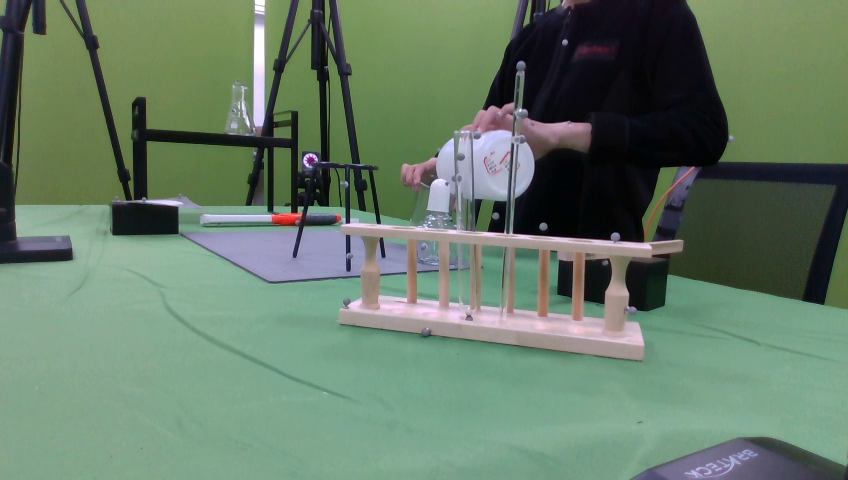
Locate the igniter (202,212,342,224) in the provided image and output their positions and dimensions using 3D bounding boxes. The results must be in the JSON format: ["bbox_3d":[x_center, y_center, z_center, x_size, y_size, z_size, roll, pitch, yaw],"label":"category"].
[{"bbox_3d":[-0.298,-0.044,1.216,0.278,0.025,0.057,-2,-2,-32],"label":"igniter"}]

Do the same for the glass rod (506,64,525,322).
[{"bbox_3d":[0.069,-0.030,0.458,0.008,0.199,0.008,0,15,0],"label":"glass rod"}]

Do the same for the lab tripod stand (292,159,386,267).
[{"bbox_3d":[-0.105,-0.039,0.798,0.148,0.131,0.148,2,5,0],"label":"lab tripod stand"}]

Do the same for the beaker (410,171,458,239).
[{"bbox_3d":[0.017,-0.058,1.040,0.074,0.100,0.084,8,25,-8],"label":"beaker"}]

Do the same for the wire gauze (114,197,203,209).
[{"bbox_3d":[-0.447,-0.062,1.015,0.126,0.011,0.121,-2,8,-31],"label":"wire gauze"}]

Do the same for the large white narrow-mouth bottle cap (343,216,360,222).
[{"bbox_3d":[-0.148,-0.036,1.234,0.038,0.024,0.037,2,8,0],"label":"large white narrow-mouth bottle cap"}]

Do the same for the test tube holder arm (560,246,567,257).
[{"bbox_3d":[0.173,0.007,0.611,0.088,0.015,0.010,-3,9,-30],"label":"test tube holder arm"}]

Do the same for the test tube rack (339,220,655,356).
[{"bbox_3d":[0.056,0.032,0.495,0.242,0.085,0.067,4,7,15],"label":"test tube rack"}]

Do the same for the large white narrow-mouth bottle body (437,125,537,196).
[{"bbox_3d":[0.077,-0.118,0.917,0.102,0.101,0.194,-2,6,-26],"label":"large white narrow-mouth bottle body"}]

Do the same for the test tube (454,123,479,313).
[{"bbox_3d":[0.034,-0.016,0.477,0.017,0.150,0.017,-2,9,1],"label":"test tube"}]

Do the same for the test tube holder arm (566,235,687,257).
[{"bbox_3d":[0.215,0.006,0.630,0.179,0.015,0.013,-3,9,-31],"label":"test tube holder arm"}]

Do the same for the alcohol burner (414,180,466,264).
[{"bbox_3d":[0.021,-0.028,0.826,0.078,0.119,0.078,0,6,0],"label":"alcohol burner"}]

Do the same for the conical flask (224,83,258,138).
[{"bbox_3d":[-0.422,-0.299,1.395,0.075,0.122,0.075,2,7,0],"label":"conical flask"}]

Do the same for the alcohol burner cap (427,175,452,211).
[{"bbox_3d":[0.023,-0.064,0.822,0.034,0.048,0.034,7,4,0],"label":"alcohol burner cap"}]
